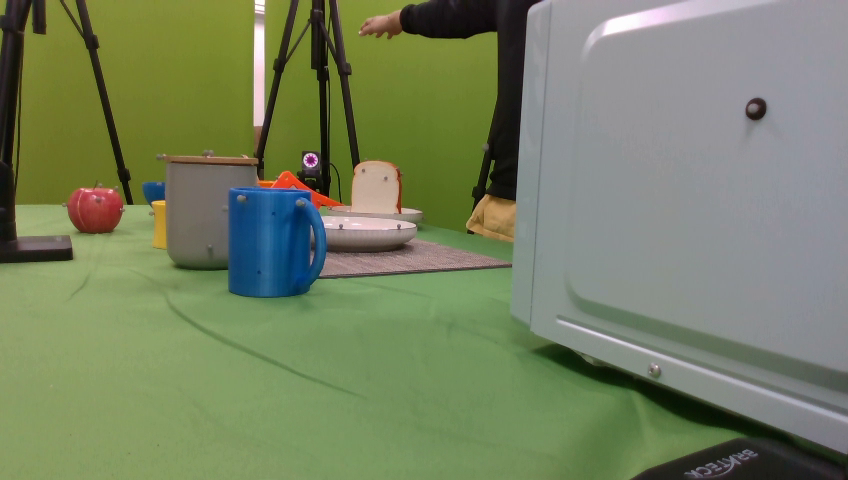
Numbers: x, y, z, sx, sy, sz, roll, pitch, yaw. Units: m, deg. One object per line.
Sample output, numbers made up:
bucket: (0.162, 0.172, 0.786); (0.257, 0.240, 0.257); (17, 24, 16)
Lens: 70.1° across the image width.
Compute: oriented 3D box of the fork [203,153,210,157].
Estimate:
fork: (-0.480, -0.136, 1.411); (0.028, 0.018, 0.207); (0, -34, -1)

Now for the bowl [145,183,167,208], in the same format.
bowl: (-0.459, -0.068, 1.175); (0.151, 0.077, 0.151); (3, 7, 0)

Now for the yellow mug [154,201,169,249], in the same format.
yellow mug: (-0.338, -0.022, 0.899); (0.130, 0.064, 0.100); (8, 9, 34)

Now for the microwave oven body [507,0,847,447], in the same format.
microwave oven body: (0.331, -0.042, 0.425); (0.444, 0.260, 0.324); (-2, 8, -31)

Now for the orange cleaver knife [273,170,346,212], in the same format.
orange cleaver knife: (-0.253, -0.089, 1.368); (0.212, 0.077, 0.012); (26, -8, -42)

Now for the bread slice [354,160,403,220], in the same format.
bread slice: (-0.095, -0.110, 1.325); (0.105, 0.131, 0.019); (5, 2, 6)

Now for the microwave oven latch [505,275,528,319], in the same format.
microwave oven latch: (0.100, 0.041, 0.471); (0.079, 0.029, 0.030); (-1, 8, -28)

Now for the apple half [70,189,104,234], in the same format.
apple half: (-0.552, -0.048, 1.010); (0.053, 0.074, 0.081); (-1, 9, 26)

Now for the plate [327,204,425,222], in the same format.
plate: (-0.102, -0.053, 1.299); (0.209, 0.038, 0.209); (2, 7, 0)

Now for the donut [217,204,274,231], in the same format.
donut: (-0.318, -0.038, 1.080); (0.099, 0.048, 0.099); (3, 7, 0)

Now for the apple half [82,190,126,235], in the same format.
apple half: (-0.516, -0.046, 0.994); (0.032, 0.081, 0.081); (0, 6, 26)

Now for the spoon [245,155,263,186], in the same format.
spoon: (-0.421, -0.150, 1.540); (0.042, 0.193, 0.021); (-5, -35, -37)

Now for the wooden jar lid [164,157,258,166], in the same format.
wooden jar lid: (-0.261, -0.093, 0.746); (0.108, 0.020, 0.108); (0, 9, 0)

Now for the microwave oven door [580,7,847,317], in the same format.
microwave oven door: (0.295, -0.066, 0.570); (0.358, 0.243, 0.039); (-3, 9, -31)

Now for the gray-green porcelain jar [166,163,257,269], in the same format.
gray-green porcelain jar: (-0.263, -0.031, 0.754); (0.106, 0.126, 0.106); (2, 7, 0)

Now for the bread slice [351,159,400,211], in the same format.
bread slice: (-0.102, -0.104, 1.273); (0.107, 0.134, 0.018); (-1, 4, 4)

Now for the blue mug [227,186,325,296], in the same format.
blue mug: (-0.147, 0.000, 0.618); (0.116, 0.106, 0.083); (7, 9, 32)

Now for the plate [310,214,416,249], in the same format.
plate: (-0.117, -0.014, 0.967); (0.208, 0.039, 0.207); (2, 7, 0)
